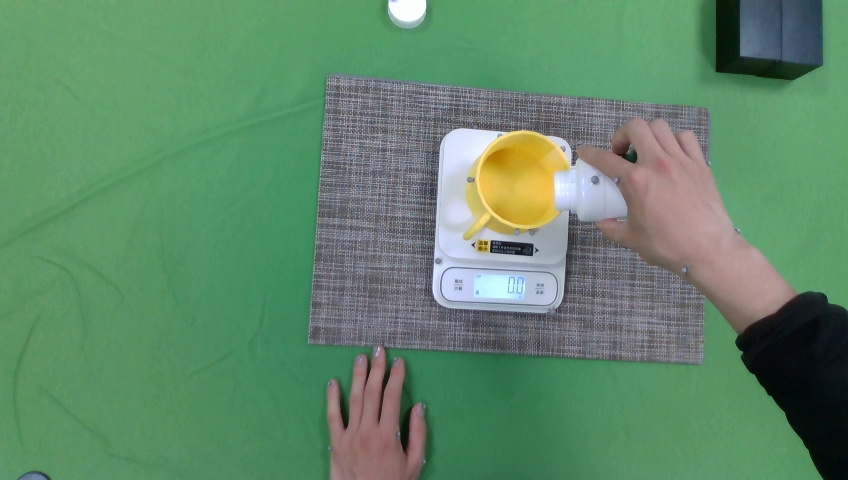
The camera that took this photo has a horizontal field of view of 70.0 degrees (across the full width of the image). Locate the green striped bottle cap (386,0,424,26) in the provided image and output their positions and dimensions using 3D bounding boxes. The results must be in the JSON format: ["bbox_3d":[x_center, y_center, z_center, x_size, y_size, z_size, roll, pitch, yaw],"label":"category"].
[{"bbox_3d":[-0.022,-0.270,0.695,0.044,0.020,0.044,0,89,-5],"label":"green striped bottle cap"}]

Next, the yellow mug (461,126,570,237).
[{"bbox_3d":[0.085,-0.051,0.629,0.100,0.064,0.131,44,84,-1],"label":"yellow mug"}]

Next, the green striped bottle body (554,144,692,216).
[{"bbox_3d":[0.183,-0.055,0.568,0.119,0.063,0.063,-3,86,12],"label":"green striped bottle body"}]

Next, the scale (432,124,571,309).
[{"bbox_3d":[0.087,-0.026,0.675,0.149,0.031,0.200,3,86,-4],"label":"scale"}]
